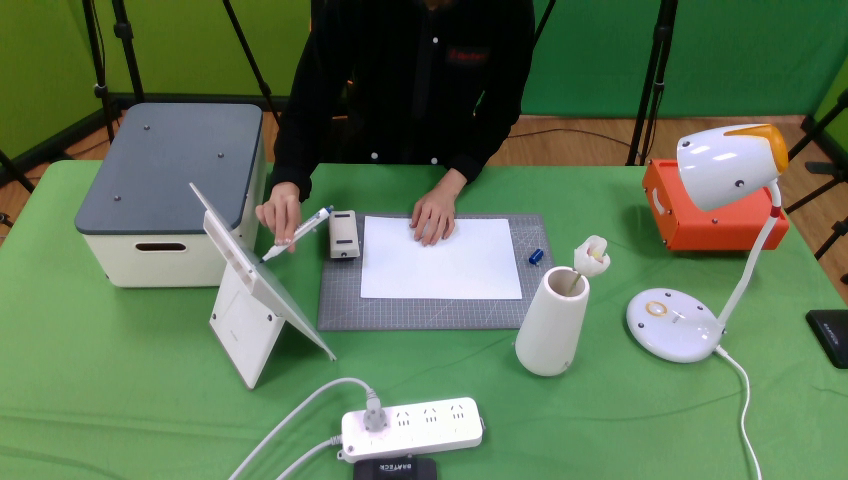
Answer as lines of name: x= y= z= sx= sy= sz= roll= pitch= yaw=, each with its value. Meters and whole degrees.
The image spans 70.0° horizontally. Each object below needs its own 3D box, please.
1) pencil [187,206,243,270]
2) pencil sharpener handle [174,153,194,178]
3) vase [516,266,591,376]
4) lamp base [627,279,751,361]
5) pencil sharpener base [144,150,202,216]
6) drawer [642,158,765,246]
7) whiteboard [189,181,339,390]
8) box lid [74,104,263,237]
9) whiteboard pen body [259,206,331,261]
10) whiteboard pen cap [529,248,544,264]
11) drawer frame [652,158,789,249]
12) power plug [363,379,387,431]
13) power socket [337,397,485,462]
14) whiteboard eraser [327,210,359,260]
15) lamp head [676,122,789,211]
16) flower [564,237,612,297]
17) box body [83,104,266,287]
pencil: x=-0.401 y=-0.008 z=1.176 sx=0.012 sy=0.012 sz=0.193 roll=15 pitch=44 yaw=10
pencil sharpener handle: x=-0.479 y=-0.156 z=1.225 sx=0.036 sy=0.068 sz=0.030 roll=24 pitch=48 yaw=2
vase: x=0.208 y=0.132 z=0.964 sx=0.098 sy=0.201 sz=0.097 roll=3 pitch=46 yaw=-3
lamp base: x=0.459 y=0.100 z=1.027 sx=0.178 sy=0.181 sz=0.160 roll=27 pitch=51 yaw=17
pencil sharpener base: x=-0.493 y=-0.113 z=1.199 sx=0.061 sy=0.107 sz=0.076 roll=15 pitch=47 yaw=11
drawer: x=0.565 y=-0.076 z=1.211 sx=0.212 sy=0.073 sz=0.193 roll=2 pitch=45 yaw=-2
whiteboard: x=-0.292 y=0.096 z=0.929 sx=0.144 sy=0.307 sz=0.216 roll=-37 pitch=57 yaw=-10
box lid: x=-0.443 y=-0.139 z=1.095 sx=0.263 sy=0.015 sz=0.369 roll=-1 pitch=45 yaw=-5
whiteboard pen body: x=-0.209 y=-0.008 z=0.975 sx=0.141 sy=0.017 sz=0.017 roll=-39 pitch=58 yaw=-11
whiteboard pen cap: x=0.219 y=0.032 z=1.183 sx=0.018 sy=0.018 sz=0.033 roll=31 pitch=51 yaw=23
drawer frame: x=0.571 y=-0.075 z=1.214 sx=0.214 sy=0.083 sz=0.200 roll=0 pitch=45 yaw=-1
power plug: x=-0.072 y=0.252 z=0.910 sx=0.035 sy=0.053 sz=0.072 roll=3 pitch=45 yaw=-1
power socket: x=-0.018 y=0.285 z=0.915 sx=0.227 sy=0.033 sz=0.071 roll=-5 pitch=46 yaw=-8
whiteboard eraser: x=-0.158 y=-0.010 z=1.177 sx=0.055 sy=0.042 sz=0.112 roll=-5 pitch=47 yaw=-7
lamp head: x=0.423 y=-0.104 z=0.819 sx=0.122 sy=0.113 sz=0.112 roll=-13 pitch=33 yaw=40
flower: x=0.206 y=0.088 z=0.893 sx=0.038 sy=0.363 sz=0.044 roll=-16 pitch=67 yaw=-9
box body: x=-0.447 y=-0.088 z=1.150 sx=0.254 sy=0.161 sz=0.361 roll=-1 pitch=46 yaw=-5
